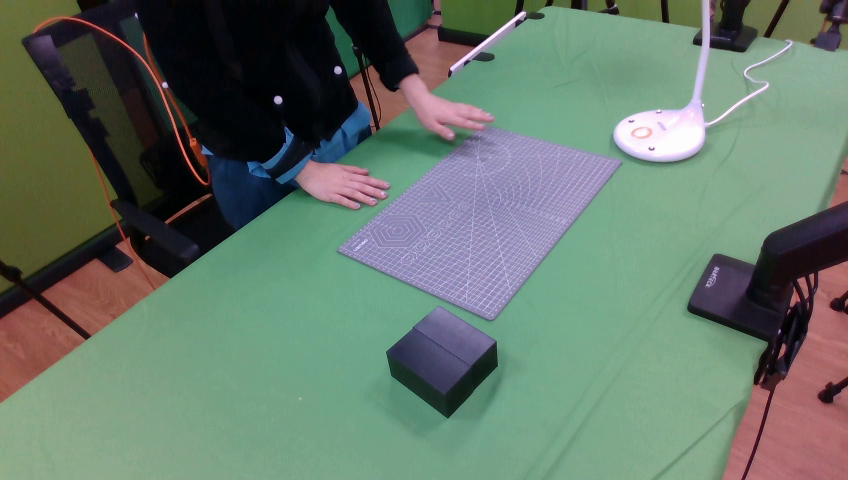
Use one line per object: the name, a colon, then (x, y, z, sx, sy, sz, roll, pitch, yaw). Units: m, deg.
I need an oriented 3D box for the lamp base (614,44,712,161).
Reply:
lamp base: (0.441, -0.257, 1.081, 0.180, 0.181, 0.159, -15, 41, -12)
